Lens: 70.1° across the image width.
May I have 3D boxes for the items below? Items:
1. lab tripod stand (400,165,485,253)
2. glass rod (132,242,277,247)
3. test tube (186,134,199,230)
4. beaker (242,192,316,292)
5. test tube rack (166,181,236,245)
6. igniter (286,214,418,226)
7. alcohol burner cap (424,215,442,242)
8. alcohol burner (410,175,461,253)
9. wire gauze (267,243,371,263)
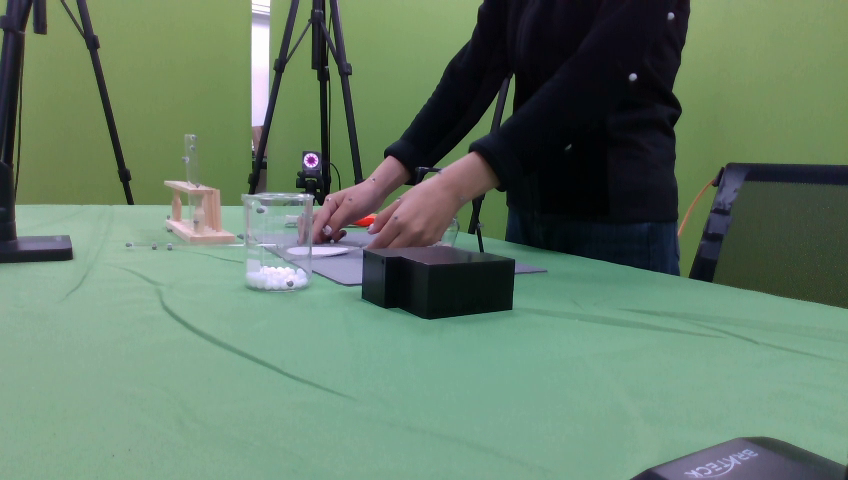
[{"bbox_3d":[0.027,-0.049,0.929,0.148,0.131,0.148,3,9,0],"label":"lab tripod stand"},{"bbox_3d":[-0.316,0.007,0.885,0.201,0.008,0.008,0,7,-27],"label":"glass rod"},{"bbox_3d":[-0.360,-0.089,0.946,0.017,0.150,0.017,0,10,0],"label":"test tube"},{"bbox_3d":[-0.157,0.000,0.642,0.084,0.100,0.074,4,7,19],"label":"beaker"},{"bbox_3d":[-0.383,-0.051,1.024,0.067,0.085,0.241,-2,9,-31],"label":"test tube rack"},{"bbox_3d":[-0.145,-0.043,1.263,0.278,0.025,0.057,-1,-2,-24],"label":"igniter"},{"bbox_3d":[0.017,-0.022,1.098,0.034,0.048,0.034,2,8,0],"label":"alcohol burner cap"},{"bbox_3d":[0.018,-0.040,0.931,0.078,0.119,0.078,0,7,0],"label":"alcohol burner"},{"bbox_3d":[-0.155,0.013,0.875,0.122,0.011,0.124,-6,9,-29],"label":"wire gauze"}]
